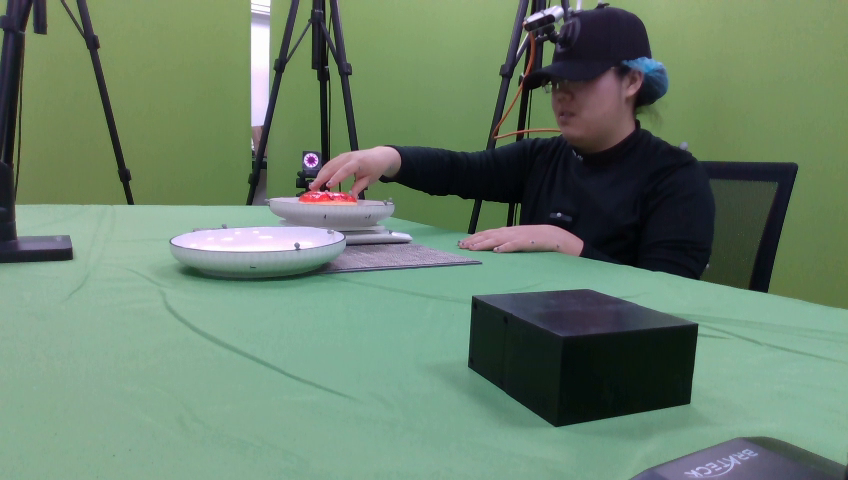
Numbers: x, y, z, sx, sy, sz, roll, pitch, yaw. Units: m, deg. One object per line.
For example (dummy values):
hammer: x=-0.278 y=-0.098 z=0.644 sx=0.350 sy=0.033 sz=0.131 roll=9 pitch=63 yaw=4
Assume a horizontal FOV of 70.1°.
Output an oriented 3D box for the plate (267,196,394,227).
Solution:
plate: x=-0.152 y=-0.047 z=0.998 sx=0.208 sy=0.039 sz=0.207 roll=2 pitch=7 yaw=0

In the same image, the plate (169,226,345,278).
plate: x=-0.202 y=0.014 z=0.748 sx=0.209 sy=0.038 sz=0.209 roll=1 pitch=9 yaw=0

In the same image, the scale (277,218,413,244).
scale: x=-0.134 y=-0.015 z=1.015 sx=0.202 sy=0.031 sz=0.148 roll=-1 pitch=9 yaw=-33

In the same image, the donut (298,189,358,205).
donut: x=-0.158 y=-0.059 z=0.996 sx=0.099 sy=0.048 sz=0.099 roll=2 pitch=4 yaw=0
